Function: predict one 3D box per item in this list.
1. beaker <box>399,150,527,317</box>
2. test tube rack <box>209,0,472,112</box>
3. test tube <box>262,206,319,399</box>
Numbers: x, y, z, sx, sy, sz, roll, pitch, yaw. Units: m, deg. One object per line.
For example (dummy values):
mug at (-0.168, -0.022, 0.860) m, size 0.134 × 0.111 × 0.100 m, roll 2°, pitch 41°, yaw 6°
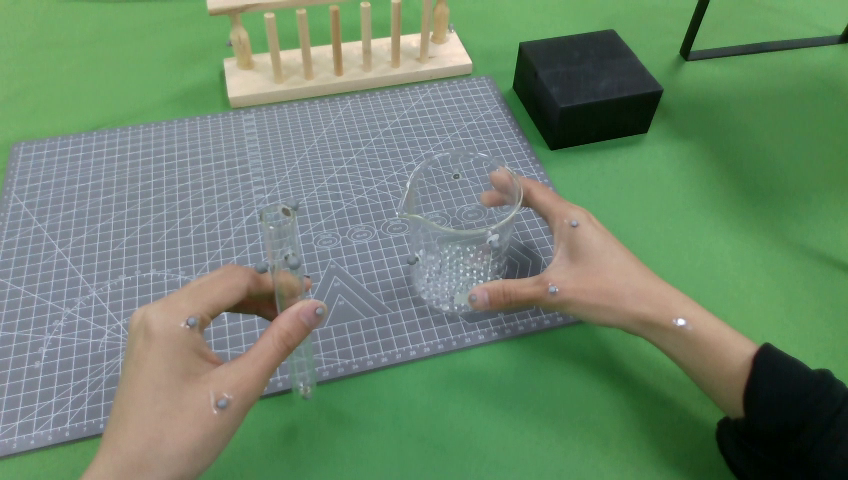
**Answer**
beaker at (0.024, 0.001, 0.419) m, size 0.084 × 0.101 × 0.073 m, roll -18°, pitch 52°, yaw -14°
test tube rack at (-0.074, -0.198, 0.593) m, size 0.243 × 0.086 × 0.066 m, roll -12°, pitch 51°, yaw -11°
test tube at (-0.068, 0.042, 0.320) m, size 0.017 × 0.151 × 0.017 m, roll 2°, pitch 46°, yaw -2°
